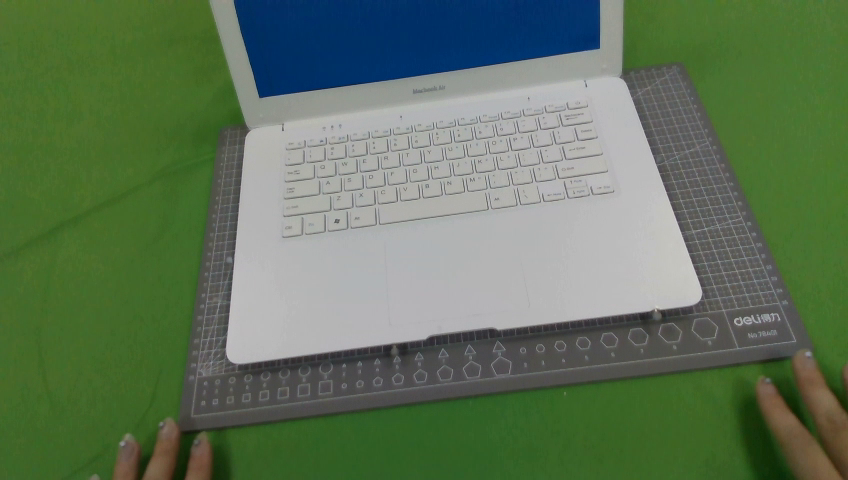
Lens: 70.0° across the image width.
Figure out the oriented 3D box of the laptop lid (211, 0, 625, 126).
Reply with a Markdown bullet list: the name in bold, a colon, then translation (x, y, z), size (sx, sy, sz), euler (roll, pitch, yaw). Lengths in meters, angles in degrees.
- **laptop lid**: translation (-0.007, -0.227, 0.509), size (0.357, 0.244, 0.013), euler (-9, 30, 3)

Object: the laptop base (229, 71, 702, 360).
- **laptop base**: translation (0.019, -0.029, 0.505), size (0.354, 0.023, 0.233), euler (-8, 61, 2)
